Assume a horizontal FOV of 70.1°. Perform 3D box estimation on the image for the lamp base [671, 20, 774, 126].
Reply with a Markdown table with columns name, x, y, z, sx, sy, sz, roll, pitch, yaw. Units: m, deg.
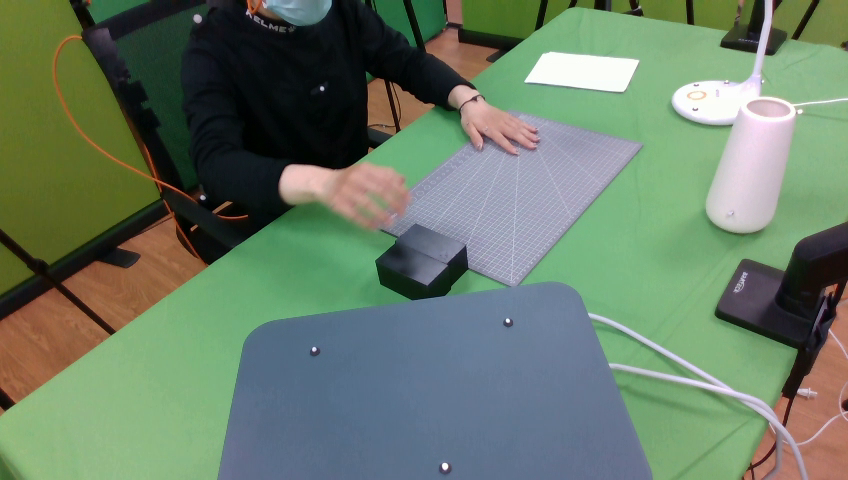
| name | x | y | z | sx | sy | sz | roll | pitch | yaw |
| --- | --- | --- | --- | --- | --- | --- | --- | --- | --- |
| lamp base | 0.581 | -0.332 | 1.154 | 0.179 | 0.181 | 0.160 | 2 | 41 | 7 |

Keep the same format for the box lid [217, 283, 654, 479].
| name | x | y | z | sx | sy | sz | roll | pitch | yaw |
| --- | --- | --- | --- | --- | --- | --- | --- | --- | --- |
| box lid | -0.004 | 0.154 | 0.571 | 0.372 | 0.015 | 0.261 | -8 | 40 | -1 |

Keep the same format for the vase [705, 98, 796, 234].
| name | x | y | z | sx | sy | sz | roll | pitch | yaw |
| --- | --- | --- | --- | --- | --- | --- | --- | --- | --- |
| vase | 0.480 | -0.104 | 0.889 | 0.098 | 0.201 | 0.097 | -4 | 42 | 4 |

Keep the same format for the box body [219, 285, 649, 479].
| name | x | y | z | sx | sy | sz | roll | pitch | yaw |
| --- | --- | --- | --- | --- | --- | --- | --- | --- | --- |
| box body | 0.005 | 0.209 | 0.619 | 0.364 | 0.161 | 0.252 | -8 | 40 | -1 |

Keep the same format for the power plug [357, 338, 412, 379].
| name | x | y | z | sx | sy | sz | roll | pitch | yaw |
| --- | --- | --- | --- | --- | --- | --- | --- | --- | --- |
| power plug | -0.053 | 0.159 | 0.798 | 0.073 | 0.035 | 0.052 | 20 | 49 | -16 |

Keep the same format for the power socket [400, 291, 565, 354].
| name | x | y | z | sx | sy | sz | roll | pitch | yaw |
| --- | --- | --- | --- | --- | --- | --- | --- | --- | --- |
| power socket | 0.079 | 0.111 | 0.823 | 0.227 | 0.033 | 0.072 | -5 | 41 | 1 |
